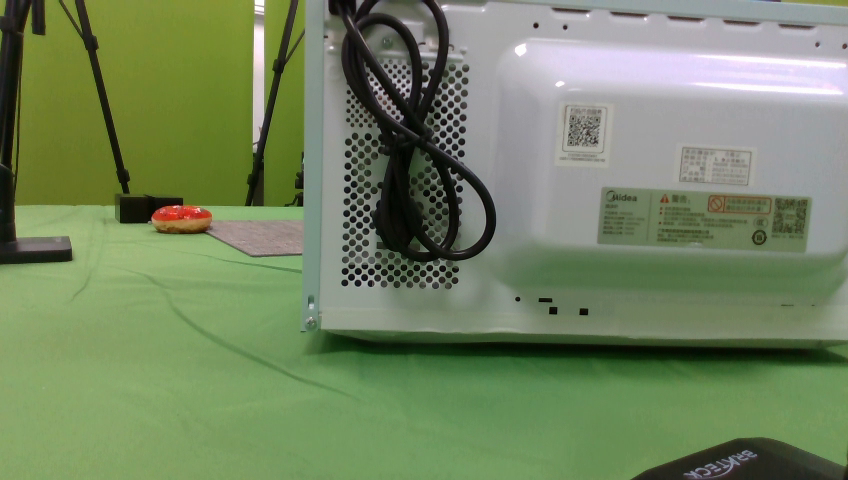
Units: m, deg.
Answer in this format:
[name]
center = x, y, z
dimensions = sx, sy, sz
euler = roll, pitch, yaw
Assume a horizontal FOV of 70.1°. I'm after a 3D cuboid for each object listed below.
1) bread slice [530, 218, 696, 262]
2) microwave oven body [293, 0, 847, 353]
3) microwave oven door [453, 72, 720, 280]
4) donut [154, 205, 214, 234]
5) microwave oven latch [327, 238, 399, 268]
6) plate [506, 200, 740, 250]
[bread slice]
center = 0.180, 0.000, 0.560
dimensions = 0.131, 0.019, 0.105
euler = -14, -5, 44
[microwave oven body]
center = 0.122, -0.055, 0.550
dimensions = 0.442, 0.260, 0.325
euler = 3, 7, -5
[microwave oven door]
center = 0.196, -0.091, 0.816
dimensions = 0.354, 0.243, 0.039
euler = 8, 9, 39
[donut]
center = -0.426, -0.037, 1.075
dimensions = 0.099, 0.048, 0.099
euler = 2, 12, 0
[microwave oven latch]
center = -0.069, 0.015, 0.694
dimensions = 0.079, 0.029, 0.030
euler = 3, 7, -3
[plate]
center = 0.180, -0.010, 0.568
dimensions = 0.208, 0.039, 0.207
euler = 1, -1, 0
